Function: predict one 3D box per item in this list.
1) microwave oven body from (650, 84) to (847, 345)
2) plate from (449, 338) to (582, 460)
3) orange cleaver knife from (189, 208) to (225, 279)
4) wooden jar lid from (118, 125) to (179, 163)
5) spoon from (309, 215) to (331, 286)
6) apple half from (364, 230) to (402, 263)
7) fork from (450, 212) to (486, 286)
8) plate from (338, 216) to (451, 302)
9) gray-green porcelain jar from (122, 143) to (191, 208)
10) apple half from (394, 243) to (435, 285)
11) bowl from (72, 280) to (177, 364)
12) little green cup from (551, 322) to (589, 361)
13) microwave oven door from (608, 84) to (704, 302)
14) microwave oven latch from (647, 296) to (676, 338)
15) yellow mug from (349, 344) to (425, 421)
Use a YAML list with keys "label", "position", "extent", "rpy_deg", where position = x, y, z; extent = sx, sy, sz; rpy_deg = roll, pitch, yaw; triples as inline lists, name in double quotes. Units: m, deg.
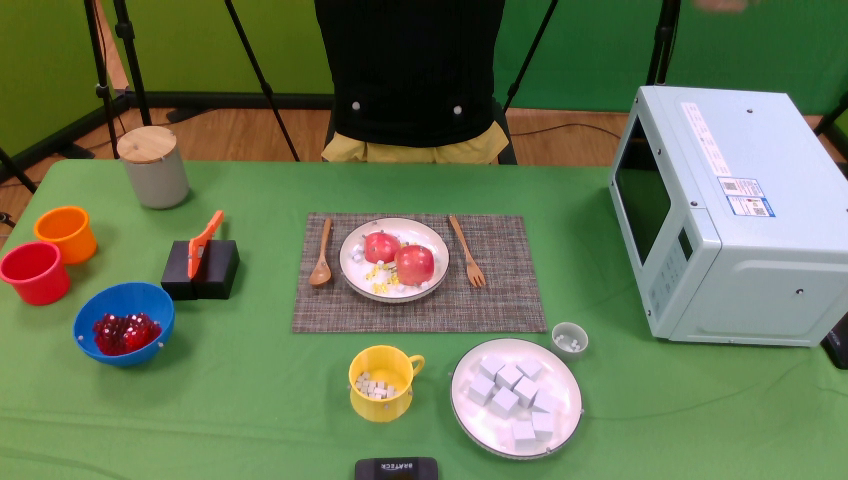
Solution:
- label: "microwave oven body"
  position: [0.569, -0.054, 1.116]
  extent: [0.326, 0.261, 0.439]
  rpy_deg: [2, 46, -1]
- label: "plate"
  position: [0.141, 0.251, 0.955]
  extent: [0.208, 0.039, 0.206]
  rpy_deg: [2, 47, -2]
- label: "orange cleaver knife"
  position: [-0.400, 0.002, 1.122]
  extent: [0.012, 0.077, 0.210]
  rpy_deg: [4, 23, -4]
- label: "wooden jar lid"
  position: [-0.528, -0.181, 1.167]
  extent: [0.108, 0.021, 0.107]
  rpy_deg: [4, 48, -4]
- label: "spoon"
  position: [-0.192, 0.016, 1.159]
  extent: [0.041, 0.022, 0.192]
  rpy_deg: [-13, 46, 12]
- label: "apple half"
  position: [-0.079, 0.005, 1.159]
  extent: [0.081, 0.033, 0.081]
  rpy_deg: [3, 48, -3]
- label: "fork"
  position: [0.082, 0.014, 1.183]
  extent: [0.028, 0.019, 0.206]
  rpy_deg: [-19, 50, 0]
- label: "plate"
  position: [-0.054, 0.038, 1.138]
  extent: [0.209, 0.038, 0.208]
  rpy_deg: [2, 46, -2]
- label: "gray-green porcelain jar"
  position: [-0.531, -0.137, 1.213]
  extent: [0.106, 0.127, 0.105]
  rpy_deg: [2, 47, -2]
- label: "apple half"
  position: [-0.017, 0.037, 1.120]
  extent: [0.075, 0.053, 0.080]
  rpy_deg: [1, 46, -6]
- label: "bowl"
  position: [-0.472, 0.147, 0.982]
  extent: [0.151, 0.077, 0.150]
  rpy_deg: [2, 46, -2]
- label: "little green cup"
  position: [0.247, 0.175, 1.033]
  extent: [0.061, 0.039, 0.061]
  rpy_deg: [2, 45, -2]
- label: "microwave oven door"
  position: [0.424, -0.096, 1.138]
  extent: [0.039, 0.245, 0.353]
  rpy_deg: [3, 46, -1]
- label: "microwave oven latch"
  position: [0.413, 0.133, 1.060]
  extent: [0.030, 0.029, 0.078]
  rpy_deg: [4, 46, 1]
- label: "yellow mug"
  position: [-0.054, 0.217, 0.954]
  extent: [0.131, 0.064, 0.099]
  rpy_deg: [-24, 52, -25]
